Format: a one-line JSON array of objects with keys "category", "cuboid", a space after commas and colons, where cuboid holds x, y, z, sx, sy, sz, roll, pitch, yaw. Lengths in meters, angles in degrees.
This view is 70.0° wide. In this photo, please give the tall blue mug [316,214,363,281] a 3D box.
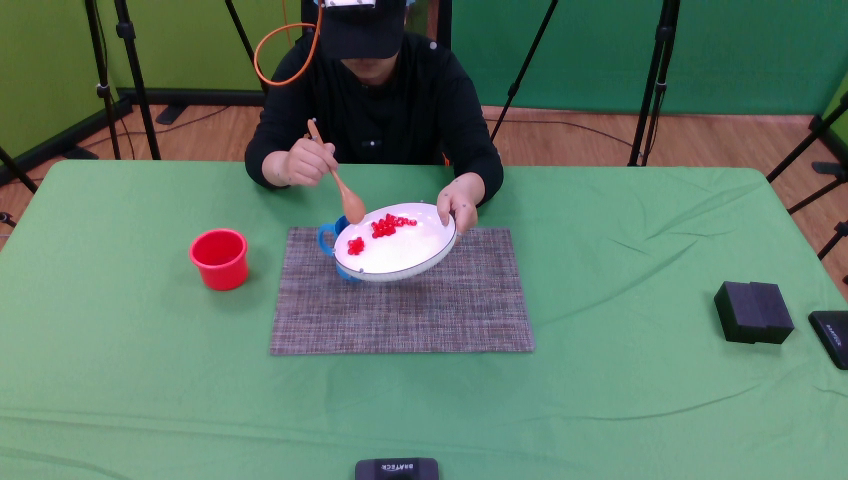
[{"category": "tall blue mug", "cuboid": [-0.141, 0.014, 1.109, 0.107, 0.108, 0.077, -4, 48, -9]}]

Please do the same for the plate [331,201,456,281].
[{"category": "plate", "cuboid": [-0.048, 0.005, 0.999, 0.207, 0.039, 0.206, -9, 33, 6]}]

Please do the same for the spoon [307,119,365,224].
[{"category": "spoon", "cuboid": [-0.153, -0.115, 1.030, 0.041, 0.194, 0.021, -33, 13, -26]}]
